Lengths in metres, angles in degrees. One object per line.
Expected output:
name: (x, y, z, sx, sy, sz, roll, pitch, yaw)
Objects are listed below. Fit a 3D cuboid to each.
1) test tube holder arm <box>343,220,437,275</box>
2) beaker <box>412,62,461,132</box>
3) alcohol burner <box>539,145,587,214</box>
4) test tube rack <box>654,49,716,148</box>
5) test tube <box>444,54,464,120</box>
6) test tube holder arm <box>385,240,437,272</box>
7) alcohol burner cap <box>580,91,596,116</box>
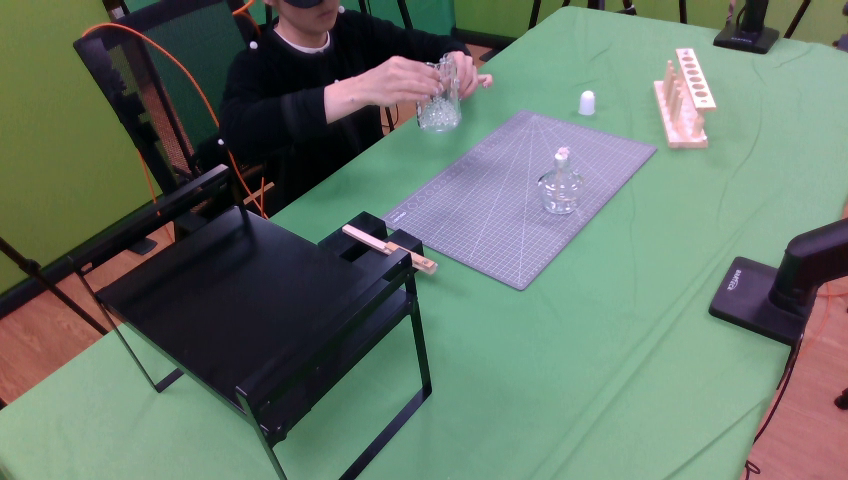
test tube holder arm: (-0.054, 0.009, 0.899, 0.177, 0.013, 0.015, 26, 58, 30)
beaker: (0.022, -0.235, 0.990, 0.074, 0.100, 0.084, -2, 27, 7)
alcohol burner: (0.226, -0.102, 0.986, 0.078, 0.119, 0.077, -6, 41, 6)
test tube rack: (0.502, -0.281, 1.176, 0.066, 0.085, 0.241, 1, 41, 11)
test tube: (0.055, -0.270, 1.085, 0.017, 0.151, 0.017, -6, 56, 9)
test tube holder arm: (-0.020, 0.022, 0.872, 0.087, 0.010, 0.015, 26, 58, 31)
alcohol burner cap: (0.338, -0.283, 1.238, 0.034, 0.048, 0.033, -4, 42, 4)
